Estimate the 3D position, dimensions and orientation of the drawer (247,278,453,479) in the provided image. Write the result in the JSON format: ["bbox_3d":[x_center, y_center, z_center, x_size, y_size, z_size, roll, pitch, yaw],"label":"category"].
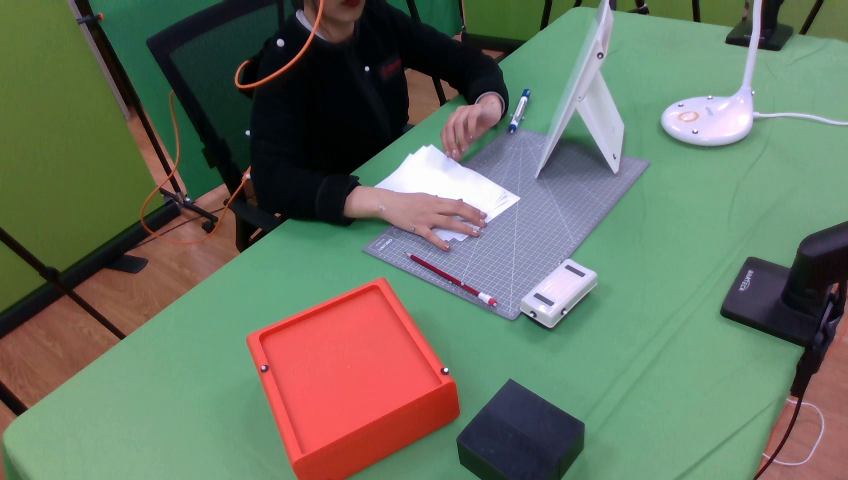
[{"bbox_3d":[-0.096,0.167,0.758,0.195,0.073,0.210,-22,43,-16],"label":"drawer"}]

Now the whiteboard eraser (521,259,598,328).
[{"bbox_3d":[0.189,0.076,0.843,0.055,0.042,0.113,29,53,37],"label":"whiteboard eraser"}]

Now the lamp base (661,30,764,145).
[{"bbox_3d":[0.535,-0.287,1.096,0.179,0.181,0.159,-10,40,-4],"label":"lamp base"}]

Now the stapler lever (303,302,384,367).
[{"bbox_3d":[-0.108,0.123,0.805,0.118,0.040,0.026,-27,36,-15],"label":"stapler lever"}]

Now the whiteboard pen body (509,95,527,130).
[{"bbox_3d":[0.199,-0.273,1.262,0.017,0.017,0.140,7,44,19],"label":"whiteboard pen body"}]

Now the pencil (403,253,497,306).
[{"bbox_3d":[0.034,0.056,0.914,0.192,0.012,0.012,27,52,38],"label":"pencil"}]

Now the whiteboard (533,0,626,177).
[{"bbox_3d":[0.321,-0.258,1.050,0.144,0.306,0.217,21,45,5],"label":"whiteboard"}]

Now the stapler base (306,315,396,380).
[{"bbox_3d":[-0.101,0.138,0.819,0.131,0.024,0.041,-31,37,-13],"label":"stapler base"}]

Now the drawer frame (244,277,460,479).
[{"bbox_3d":[-0.093,0.167,0.755,0.202,0.083,0.211,-23,43,-17],"label":"drawer frame"}]

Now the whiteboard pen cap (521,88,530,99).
[{"bbox_3d":[0.218,-0.312,1.301,0.018,0.018,0.033,6,47,18],"label":"whiteboard pen cap"}]
